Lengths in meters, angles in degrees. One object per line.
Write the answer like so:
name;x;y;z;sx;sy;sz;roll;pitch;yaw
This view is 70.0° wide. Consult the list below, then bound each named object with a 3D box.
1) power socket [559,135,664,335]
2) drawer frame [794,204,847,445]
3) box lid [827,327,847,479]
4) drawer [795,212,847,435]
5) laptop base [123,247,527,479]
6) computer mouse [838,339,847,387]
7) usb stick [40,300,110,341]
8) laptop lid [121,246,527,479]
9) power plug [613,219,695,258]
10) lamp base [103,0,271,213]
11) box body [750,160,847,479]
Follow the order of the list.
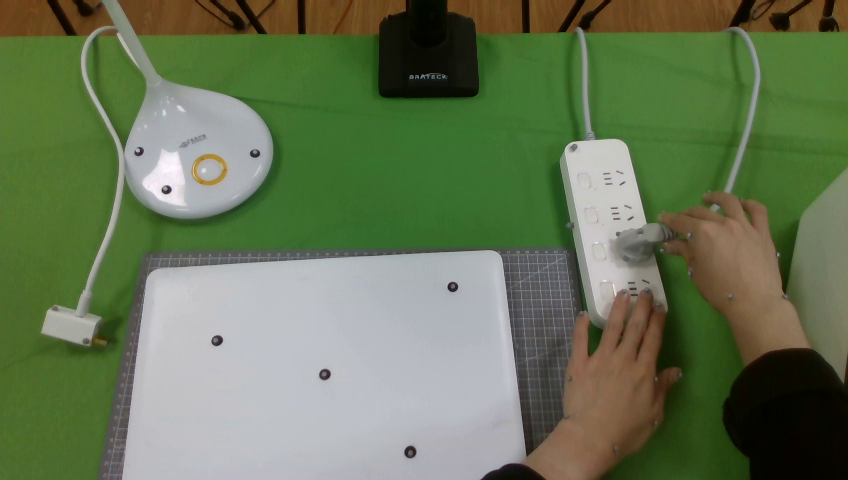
power socket;0.192;-0.015;0.633;0.072;0.033;0.225;-2;65;-3
drawer frame;0.457;0.098;0.546;0.201;0.083;0.212;20;61;7
box lid;0.449;0.075;0.440;0.262;0.015;0.369;21;68;9
drawer;0.461;0.093;0.545;0.194;0.074;0.210;19;70;8
laptop base;-0.092;0.124;0.572;0.354;0.023;0.233;-3;68;-2
computer mouse;0.443;0.124;0.547;0.116;0.041;0.062;25;75;14
usb stick;-0.330;0.080;0.580;0.059;0.021;0.027;23;93;-16
laptop lid;-0.092;0.121;0.561;0.357;0.013;0.240;-2;67;-1
power plug;0.224;0.003;0.599;0.072;0.053;0.035;8;64;2
lamp base;-0.259;-0.142;0.606;0.160;0.181;0.178;-38;68;-17
box body;0.448;0.109;0.506;0.253;0.161;0.362;21;66;9
